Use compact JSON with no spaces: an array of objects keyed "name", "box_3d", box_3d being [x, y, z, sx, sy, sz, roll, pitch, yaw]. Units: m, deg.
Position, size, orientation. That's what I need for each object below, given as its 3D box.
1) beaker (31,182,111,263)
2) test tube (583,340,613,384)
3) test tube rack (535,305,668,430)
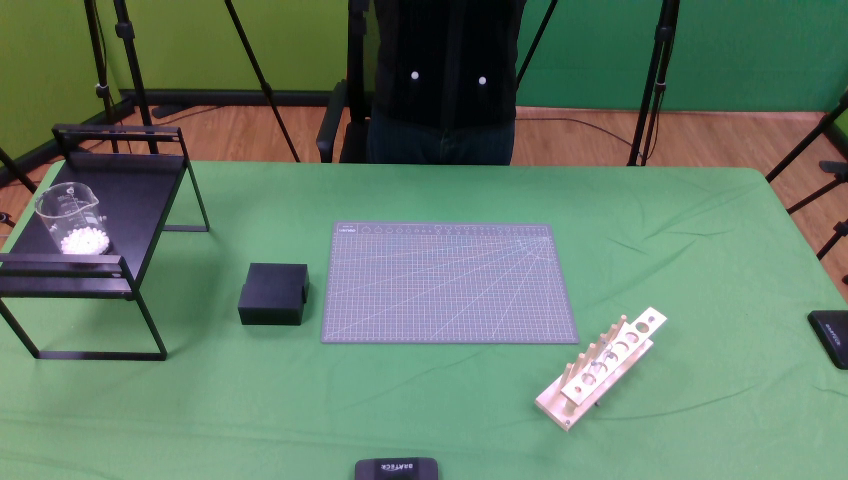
[{"name":"beaker","box_3d":[-0.502,-0.022,0.877,0.084,0.101,0.073,-2,47,-7]},{"name":"test tube","box_3d":[0.252,0.200,0.907,0.017,0.151,0.017,5,44,-4]},{"name":"test tube rack","box_3d":[0.290,0.193,0.984,0.242,0.085,0.066,-32,56,-30]}]
